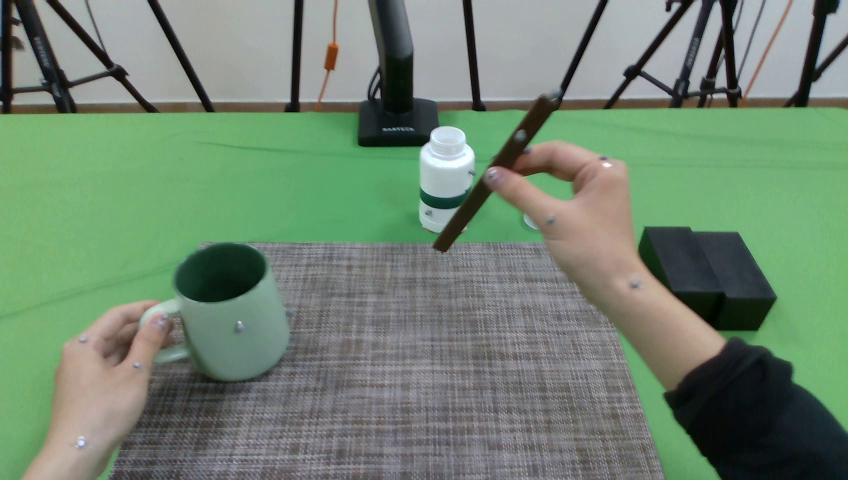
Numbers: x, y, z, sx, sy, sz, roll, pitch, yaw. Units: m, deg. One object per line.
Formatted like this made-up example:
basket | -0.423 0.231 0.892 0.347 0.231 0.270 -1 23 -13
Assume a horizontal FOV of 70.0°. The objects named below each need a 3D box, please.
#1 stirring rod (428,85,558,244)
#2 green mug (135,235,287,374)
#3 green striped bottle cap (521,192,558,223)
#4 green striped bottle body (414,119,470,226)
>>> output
stirring rod | 0.044 -0.048 0.445 0.014 0.177 0.006 25 48 -11
green mug | -0.191 0.065 0.543 0.125 0.106 0.091 -22 47 -24
green striped bottle cap | 0.142 -0.040 0.744 0.044 0.020 0.044 1 38 0
green striped bottle body | 0.020 -0.080 0.706 0.063 0.120 0.062 1 42 -1
